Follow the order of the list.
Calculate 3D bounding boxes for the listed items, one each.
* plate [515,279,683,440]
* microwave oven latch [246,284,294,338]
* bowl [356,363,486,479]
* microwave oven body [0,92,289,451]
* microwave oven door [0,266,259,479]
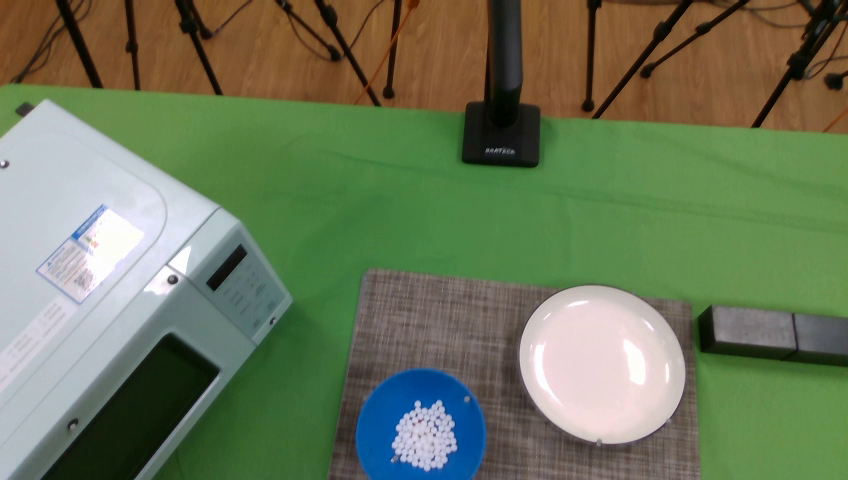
[{"bbox_3d":[0.221,0.153,0.778,0.207,0.039,0.206,-1,65,2],"label":"plate"},{"bbox_3d":[-0.208,0.090,0.808,0.030,0.030,0.079,32,71,16],"label":"microwave oven latch"},{"bbox_3d":[-0.002,0.231,0.727,0.151,0.077,0.150,-1,64,2],"label":"bowl"},{"bbox_3d":[-0.433,0.112,0.699,0.324,0.262,0.440,30,70,15],"label":"microwave oven body"},{"bbox_3d":[-0.335,0.212,0.643,0.039,0.246,0.355,30,69,16],"label":"microwave oven door"}]
